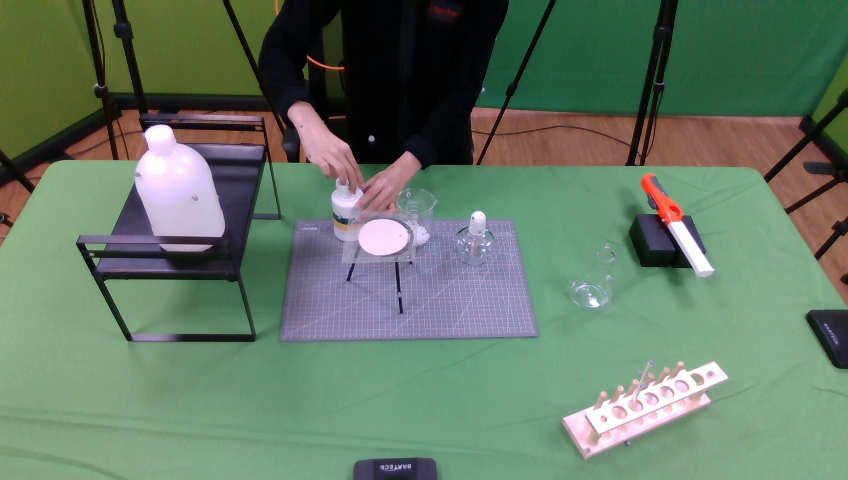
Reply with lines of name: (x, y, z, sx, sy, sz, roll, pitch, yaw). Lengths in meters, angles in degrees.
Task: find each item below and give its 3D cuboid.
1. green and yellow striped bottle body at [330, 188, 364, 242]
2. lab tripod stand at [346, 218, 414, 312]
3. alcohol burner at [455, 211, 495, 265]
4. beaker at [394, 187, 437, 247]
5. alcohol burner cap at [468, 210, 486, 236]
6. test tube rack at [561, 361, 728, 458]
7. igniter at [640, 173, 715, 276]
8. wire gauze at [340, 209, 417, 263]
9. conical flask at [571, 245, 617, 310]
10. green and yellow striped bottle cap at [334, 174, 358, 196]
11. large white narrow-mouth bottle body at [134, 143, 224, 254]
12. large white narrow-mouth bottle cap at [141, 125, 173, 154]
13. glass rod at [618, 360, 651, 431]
green and yellow striped bottle body: (-0.148, -0.059, 1.171, 0.063, 0.120, 0.063, 2, 46, -2)
lab tripod stand: (-0.070, 0.037, 1.075, 0.148, 0.132, 0.147, 1, 47, -1)
alcohol burner: (0.097, -0.010, 1.147, 0.078, 0.120, 0.077, 1, 47, 0)
beaker: (-0.018, -0.042, 1.179, 0.084, 0.101, 0.073, -8, 48, -13)
alcohol burner cap: (0.100, -0.034, 1.119, 0.034, 0.048, 0.033, 0, 53, 0)
test tube rack: (0.341, 0.248, 0.940, 0.243, 0.085, 0.066, -15, 48, -18)
igniter: (0.495, -0.039, 1.204, 0.057, 0.025, 0.274, -2, 47, -12)
wire gauze: (-0.074, -0.006, 1.023, 0.121, 0.011, 0.124, 3, 46, 0)
conical flask: (0.313, 0.064, 1.089, 0.075, 0.122, 0.075, 2, 46, -2)
green and yellow striped bottle cap: (-0.146, -0.103, 1.127, 0.045, 0.020, 0.045, 3, 41, -3)
large white narrow-mouth bottle body: (-0.358, -0.075, 0.875, 0.102, 0.195, 0.101, 1, 48, -1)
large white narrow-mouth bottle cap: (-0.356, -0.134, 0.810, 0.038, 0.024, 0.037, 2, 48, -1)
glass rod: (0.298, 0.227, 0.865, 0.008, 0.201, 0.008, -1, 48, 2)
